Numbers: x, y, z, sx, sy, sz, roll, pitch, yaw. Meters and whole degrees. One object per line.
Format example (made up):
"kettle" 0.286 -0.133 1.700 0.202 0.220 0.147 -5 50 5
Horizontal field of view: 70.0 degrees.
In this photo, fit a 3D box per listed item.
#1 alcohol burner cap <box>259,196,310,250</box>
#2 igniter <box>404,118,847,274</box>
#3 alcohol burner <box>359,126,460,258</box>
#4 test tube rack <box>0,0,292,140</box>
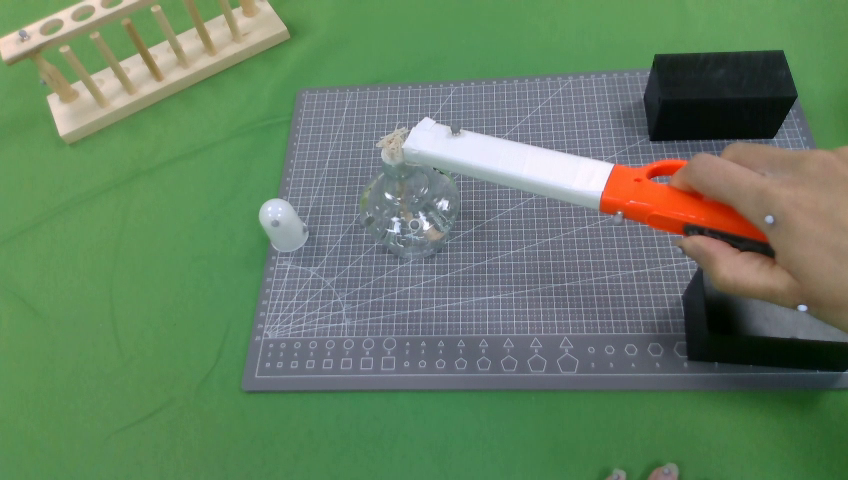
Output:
"alcohol burner cap" -0.114 -0.017 0.488 0.034 0.048 0.033 -3 61 6
"igniter" 0.117 -0.029 0.345 0.275 0.025 0.057 16 58 21
"alcohol burner" -0.013 -0.038 0.447 0.078 0.120 0.077 -3 57 6
"test tube rack" -0.262 -0.199 0.590 0.242 0.086 0.066 -29 61 -10
